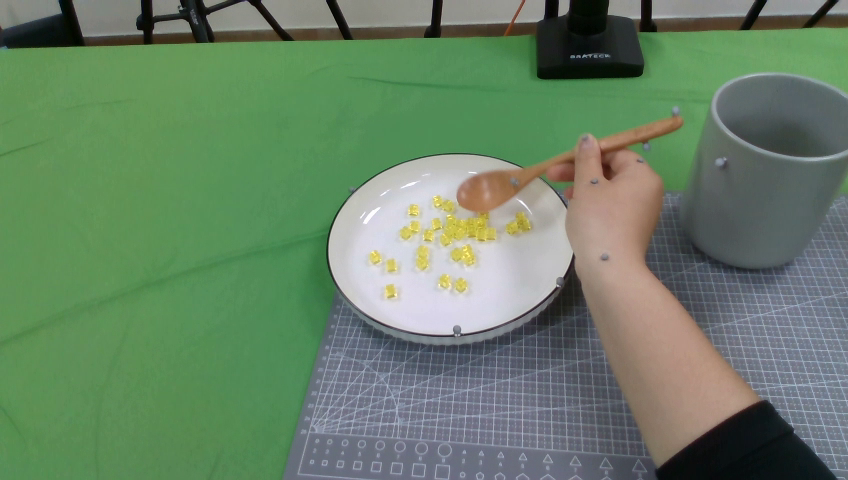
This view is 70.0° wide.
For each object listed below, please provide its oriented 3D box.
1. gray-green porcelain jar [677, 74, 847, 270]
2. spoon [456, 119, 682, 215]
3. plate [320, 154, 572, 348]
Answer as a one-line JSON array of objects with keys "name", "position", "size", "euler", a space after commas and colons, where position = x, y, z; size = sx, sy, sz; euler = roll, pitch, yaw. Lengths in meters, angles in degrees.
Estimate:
[{"name": "gray-green porcelain jar", "position": [0.263, -0.047, 0.478], "size": [0.106, 0.128, 0.105], "euler": [-3, 48, 4]}, {"name": "spoon", "position": [0.111, -0.061, 0.498], "size": [0.193, 0.022, 0.041], "euler": [-19, 54, 33]}, {"name": "plate", "position": [0.018, 0.007, 0.515], "size": [0.207, 0.039, 0.205], "euler": [-3, 48, 3]}]
